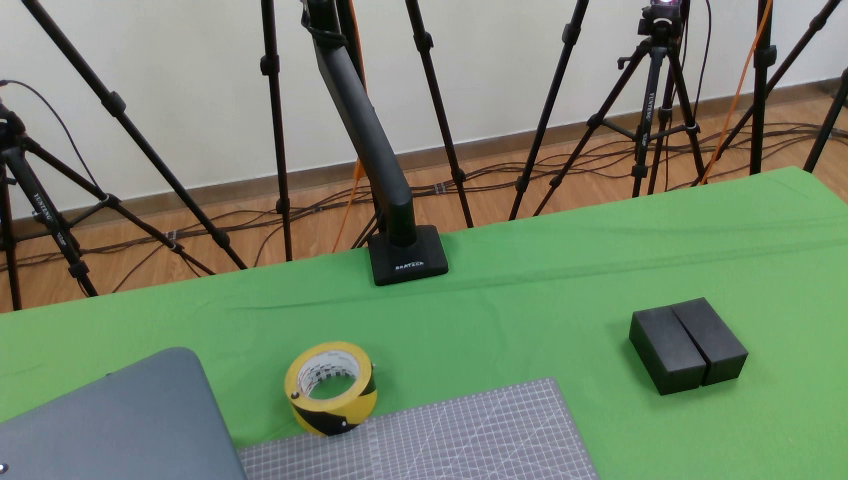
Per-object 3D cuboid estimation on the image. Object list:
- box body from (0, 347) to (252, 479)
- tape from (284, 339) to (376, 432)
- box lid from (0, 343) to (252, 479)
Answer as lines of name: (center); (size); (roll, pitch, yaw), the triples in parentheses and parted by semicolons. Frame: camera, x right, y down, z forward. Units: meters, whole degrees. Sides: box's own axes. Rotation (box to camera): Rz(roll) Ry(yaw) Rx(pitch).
box body: (-0.346, 0.307, 0.589); (0.364, 0.162, 0.251); (-25, 45, -20)
tape: (-0.121, 0.186, 0.784); (0.117, 0.053, 0.115); (-3, 39, 3)
box lid: (-0.350, 0.251, 0.539); (0.372, 0.015, 0.260); (-25, 46, -20)
